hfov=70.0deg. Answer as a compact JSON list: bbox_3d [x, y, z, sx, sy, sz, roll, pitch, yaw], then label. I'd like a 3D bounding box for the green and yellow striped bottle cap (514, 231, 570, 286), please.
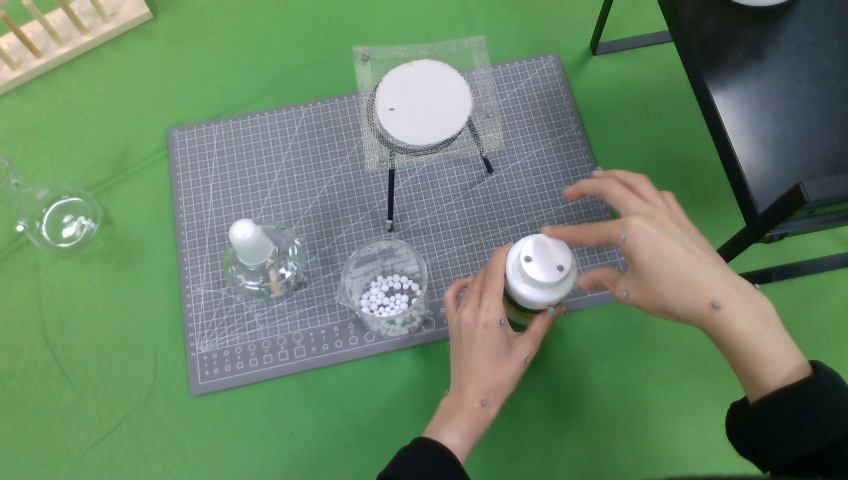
[{"bbox_3d":[0.098,0.015,0.502,0.045,0.020,0.045,-1,72,2],"label":"green and yellow striped bottle cap"}]

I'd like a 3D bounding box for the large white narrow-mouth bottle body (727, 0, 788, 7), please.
[{"bbox_3d":[0.275,-0.268,0.427,0.102,0.196,0.101,0,68,1],"label":"large white narrow-mouth bottle body"}]

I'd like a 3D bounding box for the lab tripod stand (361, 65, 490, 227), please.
[{"bbox_3d":[-0.004,-0.096,0.592,0.148,0.132,0.147,0,69,0],"label":"lab tripod stand"}]

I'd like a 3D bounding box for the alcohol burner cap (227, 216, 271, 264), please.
[{"bbox_3d":[-0.157,-0.003,0.534,0.034,0.048,0.033,0,63,0],"label":"alcohol burner cap"}]

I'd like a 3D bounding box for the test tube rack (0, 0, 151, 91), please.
[{"bbox_3d":[-0.450,-0.249,0.683,0.242,0.086,0.066,-31,73,-9],"label":"test tube rack"}]

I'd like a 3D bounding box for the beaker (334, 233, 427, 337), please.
[{"bbox_3d":[-0.036,0.048,0.561,0.084,0.101,0.073,-23,71,-6],"label":"beaker"}]

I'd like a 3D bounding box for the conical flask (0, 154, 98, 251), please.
[{"bbox_3d":[-0.384,-0.041,0.590,0.075,0.122,0.075,0,70,2],"label":"conical flask"}]

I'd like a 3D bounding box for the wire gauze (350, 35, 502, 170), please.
[{"bbox_3d":[0.001,-0.125,0.530,0.121,0.011,0.124,-7,71,-3],"label":"wire gauze"}]

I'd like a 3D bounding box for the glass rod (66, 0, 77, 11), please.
[{"bbox_3d":[-0.413,-0.314,0.634,0.008,0.201,0.008,1,68,-3],"label":"glass rod"}]

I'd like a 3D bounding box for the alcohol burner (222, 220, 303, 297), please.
[{"bbox_3d":[-0.155,0.012,0.568,0.078,0.120,0.077,0,69,0],"label":"alcohol burner"}]

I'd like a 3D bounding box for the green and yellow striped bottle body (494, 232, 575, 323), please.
[{"bbox_3d":[0.099,0.033,0.551,0.063,0.120,0.063,0,70,2],"label":"green and yellow striped bottle body"}]
